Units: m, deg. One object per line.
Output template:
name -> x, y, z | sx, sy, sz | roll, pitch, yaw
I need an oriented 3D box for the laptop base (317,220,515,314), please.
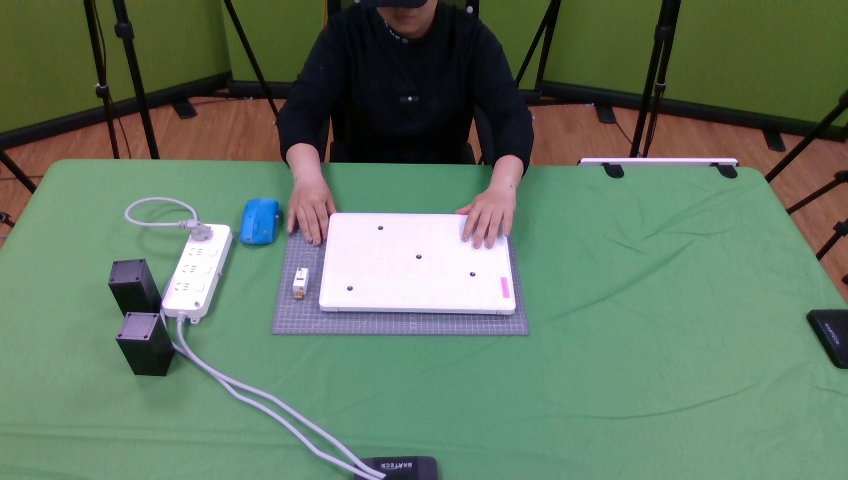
laptop base -> -0.014, 0.050, 1.149 | 0.354, 0.023, 0.234 | 1, 42, -3

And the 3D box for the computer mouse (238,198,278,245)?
computer mouse -> -0.327, -0.040, 1.200 | 0.063, 0.041, 0.116 | 4, 50, -4

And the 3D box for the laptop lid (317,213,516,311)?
laptop lid -> -0.013, 0.035, 1.138 | 0.357, 0.013, 0.240 | 3, 47, -2

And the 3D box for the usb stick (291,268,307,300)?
usb stick -> -0.226, 0.081, 1.094 | 0.021, 0.027, 0.059 | 5, 48, -2

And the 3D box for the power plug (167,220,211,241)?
power plug -> -0.438, -0.017, 1.143 | 0.072, 0.053, 0.035 | 9, 43, 7

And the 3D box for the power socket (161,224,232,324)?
power socket -> -0.411, 0.052, 1.107 | 0.072, 0.033, 0.225 | 4, 45, -1
